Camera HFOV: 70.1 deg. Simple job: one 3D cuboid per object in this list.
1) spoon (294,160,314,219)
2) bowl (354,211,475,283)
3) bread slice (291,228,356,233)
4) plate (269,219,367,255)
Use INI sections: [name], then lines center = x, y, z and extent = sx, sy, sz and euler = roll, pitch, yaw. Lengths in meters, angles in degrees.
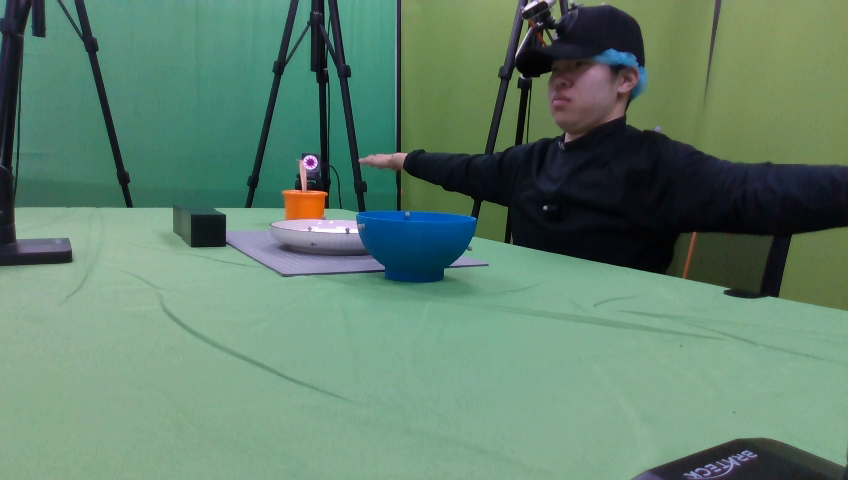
[spoon]
center = -0.253, -0.102, 1.270
extent = 0.042, 0.193, 0.021
euler = 3, -38, -17
[bowl]
center = -0.013, 0.008, 0.749
extent = 0.151, 0.077, 0.151
euler = 2, 7, 0
[bread slice]
center = -0.143, -0.003, 0.953
extent = 0.135, 0.018, 0.106
euler = -1, 8, -37
[plate]
center = -0.140, -0.006, 0.958
extent = 0.209, 0.038, 0.209
euler = 3, 7, 0
